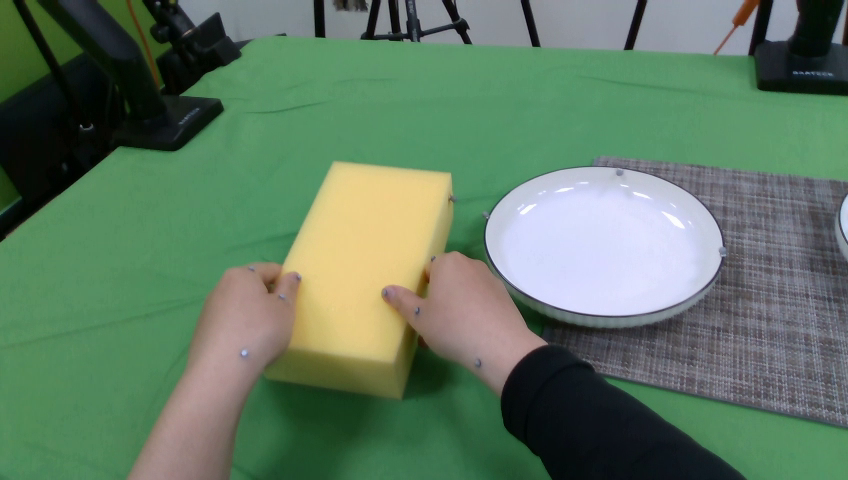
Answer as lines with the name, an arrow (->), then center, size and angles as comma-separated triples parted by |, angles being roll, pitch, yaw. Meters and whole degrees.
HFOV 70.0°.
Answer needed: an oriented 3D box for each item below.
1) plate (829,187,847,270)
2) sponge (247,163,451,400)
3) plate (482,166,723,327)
plate -> 0.451, 0.013, 0.500 | 0.207, 0.039, 0.205 | -4, 41, 4
sponge -> -0.054, 0.026, 0.534 | 0.118, 0.061, 0.205 | 8, 51, 12
plate -> 0.159, 0.005, 0.557 | 0.209, 0.038, 0.207 | -4, 41, 4
